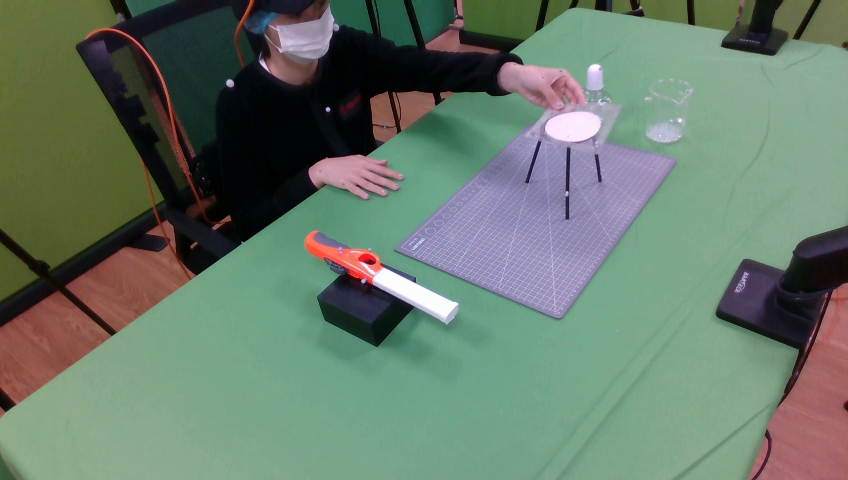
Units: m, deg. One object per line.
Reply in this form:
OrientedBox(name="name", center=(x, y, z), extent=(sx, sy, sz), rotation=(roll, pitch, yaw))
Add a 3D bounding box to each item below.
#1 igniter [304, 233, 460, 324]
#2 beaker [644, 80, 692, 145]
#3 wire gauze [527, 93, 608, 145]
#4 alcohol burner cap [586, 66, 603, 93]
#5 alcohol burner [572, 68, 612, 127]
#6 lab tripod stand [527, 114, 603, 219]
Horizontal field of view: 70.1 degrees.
OrientedBox(name="igniter", center=(-0.070, 0.048, 0.853), extent=(0.274, 0.025, 0.057), rotation=(24, 47, 29))
OrientedBox(name="beaker", center=(0.451, -0.233, 1.122), extent=(0.074, 0.101, 0.083), rotation=(-8, 40, 1))
OrientedBox(name="wire gauze", center=(0.224, -0.190, 0.944), extent=(0.121, 0.011, 0.124), rotation=(3, 50, 12))
OrientedBox(name="alcohol burner cap", center=(0.330, -0.312, 1.170), extent=(0.034, 0.048, 0.033), rotation=(-8, 38, 7))
OrientedBox(name="alcohol burner", center=(0.333, -0.285, 1.192), extent=(0.078, 0.119, 0.077), rotation=(-4, 42, 4))
OrientedBox(name="lab tripod stand", center=(0.234, -0.129, 1.002), extent=(0.148, 0.132, 0.147), rotation=(-6, 40, 6))
